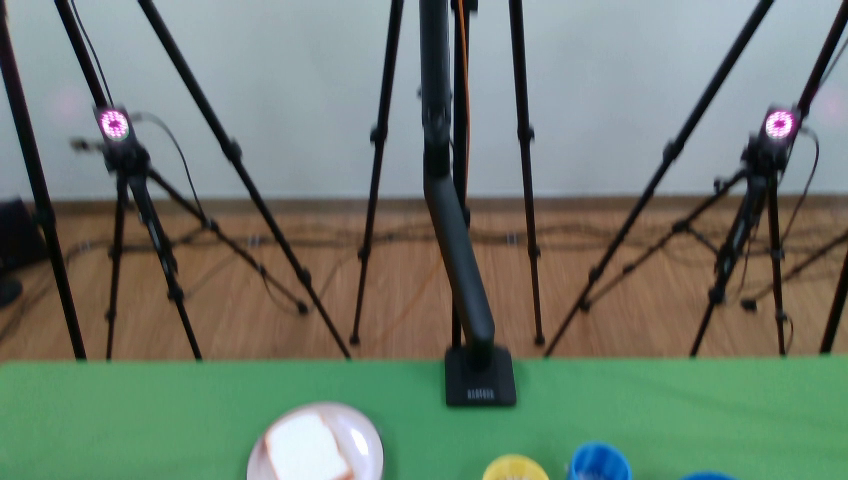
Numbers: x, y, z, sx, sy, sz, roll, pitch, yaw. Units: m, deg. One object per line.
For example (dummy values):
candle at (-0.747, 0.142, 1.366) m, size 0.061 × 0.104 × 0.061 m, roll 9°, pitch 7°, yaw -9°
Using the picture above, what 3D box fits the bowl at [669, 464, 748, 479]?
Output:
bowl at (0.396, 0.396, 0.831) m, size 0.151 × 0.077 × 0.150 m, roll 0°, pitch 43°, yaw 0°

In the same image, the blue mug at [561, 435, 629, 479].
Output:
blue mug at (0.236, 0.354, 0.858) m, size 0.082 × 0.107 × 0.116 m, roll 13°, pitch 44°, yaw 15°

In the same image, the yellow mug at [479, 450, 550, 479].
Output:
yellow mug at (0.115, 0.369, 0.871) m, size 0.131 × 0.064 × 0.099 m, roll -16°, pitch 44°, yaw -15°

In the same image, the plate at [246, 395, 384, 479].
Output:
plate at (-0.164, 0.336, 0.930) m, size 0.208 × 0.039 × 0.205 m, roll 0°, pitch 42°, yaw 0°
